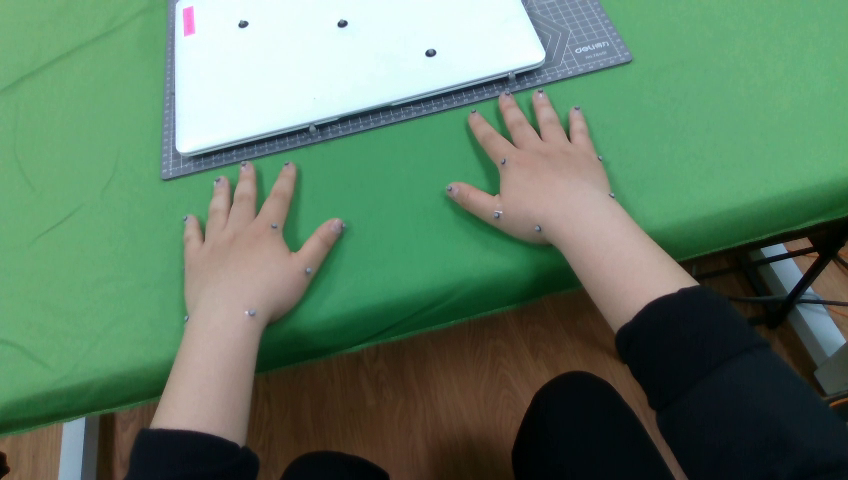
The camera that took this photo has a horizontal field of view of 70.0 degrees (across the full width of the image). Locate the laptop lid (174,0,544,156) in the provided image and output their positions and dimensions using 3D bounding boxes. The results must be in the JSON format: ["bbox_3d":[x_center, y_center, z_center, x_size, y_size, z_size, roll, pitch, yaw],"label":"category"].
[{"bbox_3d":[-0.081,-0.215,0.612,0.357,0.013,0.239,-13,59,0],"label":"laptop lid"}]

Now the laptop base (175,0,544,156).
[{"bbox_3d":[-0.080,-0.210,0.623,0.354,0.023,0.233,-15,60,-1],"label":"laptop base"}]
